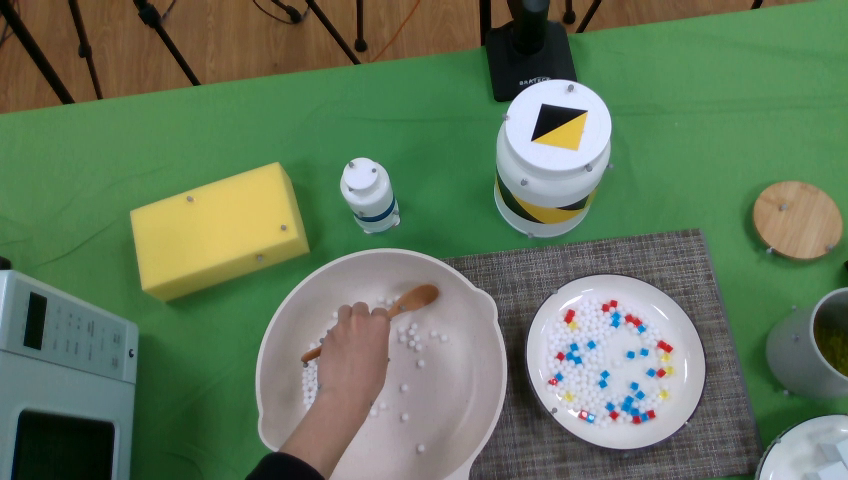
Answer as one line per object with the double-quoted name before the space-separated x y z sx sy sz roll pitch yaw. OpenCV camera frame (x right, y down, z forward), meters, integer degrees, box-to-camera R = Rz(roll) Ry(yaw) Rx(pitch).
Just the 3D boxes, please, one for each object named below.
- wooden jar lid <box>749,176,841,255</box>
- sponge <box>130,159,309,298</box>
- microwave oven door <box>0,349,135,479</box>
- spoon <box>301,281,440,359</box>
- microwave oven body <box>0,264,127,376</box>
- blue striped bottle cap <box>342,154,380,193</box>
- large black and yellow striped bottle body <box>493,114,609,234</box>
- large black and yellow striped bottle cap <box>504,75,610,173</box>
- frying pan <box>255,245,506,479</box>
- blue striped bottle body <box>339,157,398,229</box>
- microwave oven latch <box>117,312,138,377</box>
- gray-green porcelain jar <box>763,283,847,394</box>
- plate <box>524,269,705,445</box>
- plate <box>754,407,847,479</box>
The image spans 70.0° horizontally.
"wooden jar lid" 0.474 -0.030 0.779 0.108 0.021 0.107 -1 72 5
"sponge" -0.273 -0.015 0.814 0.207 0.061 0.117 -20 70 -3
"microwave oven door" -0.372 0.302 0.594 0.039 0.245 0.353 -7 70 2
"spoon" -0.059 0.095 0.724 0.194 0.042 0.021 -27 53 -33
"microwave oven body" -0.520 0.281 0.619 0.326 0.262 0.438 -7 71 2
"blue striped bottle cap" -0.077 -0.081 0.734 0.044 0.021 0.044 -2 68 6
"large black and yellow striped bottle body" 0.152 -0.098 0.743 0.131 0.185 0.130 -2 70 4
"large black and yellow striped bottle cap" 0.145 -0.128 0.665 0.115 0.019 0.114 -1 72 4
"frying pan" -0.001 0.230 0.678 0.307 0.103 0.483 -29 63 -5
"blue striped bottle body" -0.072 -0.064 0.783 0.063 0.121 0.062 -1 70 5
"microwave oven latch" -0.380 0.132 0.763 0.030 0.030 0.078 -5 71 3
"gray-green porcelain jar" 0.451 0.114 0.673 0.106 0.127 0.105 -1 70 4
"plate" 0.223 0.138 0.727 0.209 0.038 0.207 -2 71 5
"plate" 0.464 0.289 0.658 0.207 0.039 0.206 -2 70 5
